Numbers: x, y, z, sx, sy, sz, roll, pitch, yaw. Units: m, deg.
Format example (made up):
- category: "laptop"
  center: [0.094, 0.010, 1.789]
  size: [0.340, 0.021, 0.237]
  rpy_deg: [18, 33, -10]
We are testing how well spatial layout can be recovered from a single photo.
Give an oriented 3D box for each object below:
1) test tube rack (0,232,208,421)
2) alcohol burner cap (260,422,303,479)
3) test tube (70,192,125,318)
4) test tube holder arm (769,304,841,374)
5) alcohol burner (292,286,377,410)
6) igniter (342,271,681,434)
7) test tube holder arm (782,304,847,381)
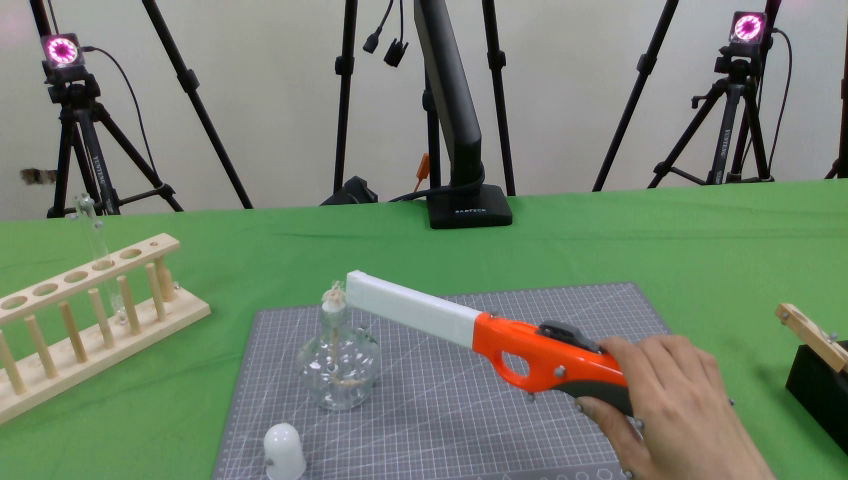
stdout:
- category: "test tube rack"
  center: [-0.351, 0.083, 0.612]
  size: [0.066, 0.086, 0.242]
  rpy_deg: [22, 36, 35]
- category: "alcohol burner cap"
  center: [-0.117, 0.169, 0.490]
  size: [0.034, 0.048, 0.033]
  rpy_deg: [-1, 29, 1]
- category: "test tube"
  center: [-0.333, 0.019, 0.624]
  size: [0.017, 0.151, 0.017]
  rpy_deg: [0, 32, 0]
- category: "test tube holder arm"
  center: [0.345, 0.088, 0.548]
  size: [0.010, 0.015, 0.087]
  rpy_deg: [3, 29, -12]
- category: "alcohol burner"
  center: [-0.082, 0.094, 0.550]
  size: [0.078, 0.120, 0.077]
  rpy_deg: [-1, 28, 1]
- category: "igniter"
  center: [0.047, 0.073, 0.443]
  size: [0.274, 0.057, 0.025]
  rpy_deg: [16, 21, 32]
- category: "test tube holder arm"
  center: [0.358, 0.110, 0.511]
  size: [0.013, 0.015, 0.176]
  rpy_deg: [3, 29, -12]
